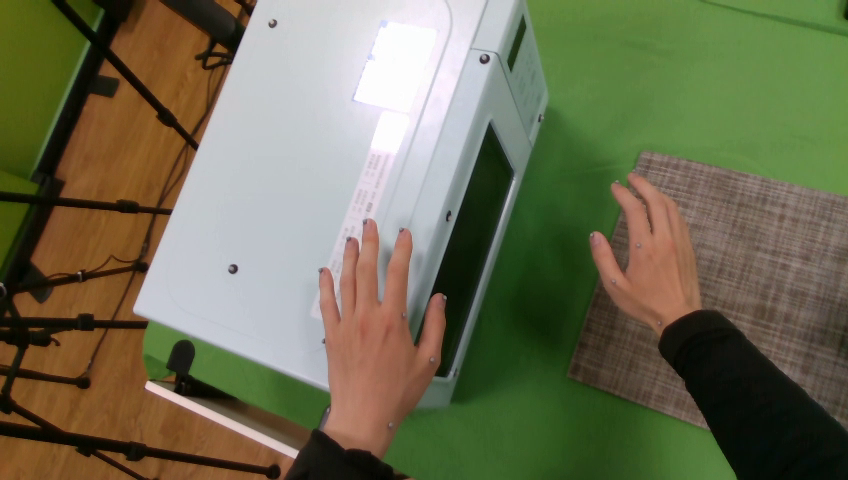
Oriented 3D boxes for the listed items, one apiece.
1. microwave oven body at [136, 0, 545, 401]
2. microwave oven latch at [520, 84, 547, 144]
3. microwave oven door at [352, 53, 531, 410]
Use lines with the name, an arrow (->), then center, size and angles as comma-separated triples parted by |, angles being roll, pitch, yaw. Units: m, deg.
microwave oven body -> -0.081, -0.063, 0.735 | 0.324, 0.262, 0.440 | 16, 82, 21
microwave oven latch -> 0.139, -0.168, 0.794 | 0.030, 0.030, 0.079 | 17, 83, 21
microwave oven door -> 0.034, 0.012, 0.673 | 0.039, 0.246, 0.355 | 16, 82, 22
